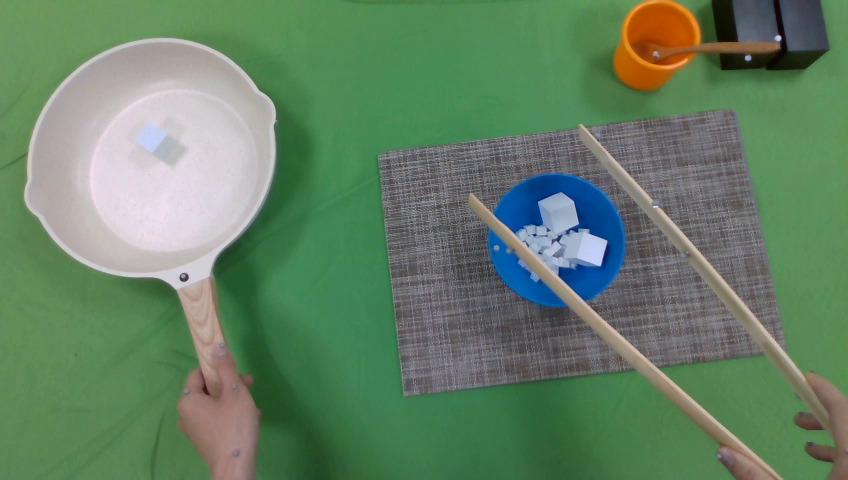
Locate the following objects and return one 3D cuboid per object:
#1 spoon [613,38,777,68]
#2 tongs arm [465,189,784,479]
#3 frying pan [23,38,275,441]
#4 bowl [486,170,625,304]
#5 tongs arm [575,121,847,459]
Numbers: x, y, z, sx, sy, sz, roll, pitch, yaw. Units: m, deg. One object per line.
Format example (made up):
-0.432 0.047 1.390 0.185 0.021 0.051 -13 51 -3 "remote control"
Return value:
0.304 -0.221 0.700 0.022 0.192 0.041 36 78 -36 "spoon"
0.165 0.076 0.507 0.028 0.028 0.384 -37 62 -16 "tongs arm"
-0.282 -0.005 0.701 0.307 0.103 0.484 -21 72 -1 "frying pan"
0.144 0.002 0.696 0.151 0.077 0.151 0 80 2 "bowl"
0.227 0.037 0.518 0.051 0.027 0.381 -29 61 -8 "tongs arm"
